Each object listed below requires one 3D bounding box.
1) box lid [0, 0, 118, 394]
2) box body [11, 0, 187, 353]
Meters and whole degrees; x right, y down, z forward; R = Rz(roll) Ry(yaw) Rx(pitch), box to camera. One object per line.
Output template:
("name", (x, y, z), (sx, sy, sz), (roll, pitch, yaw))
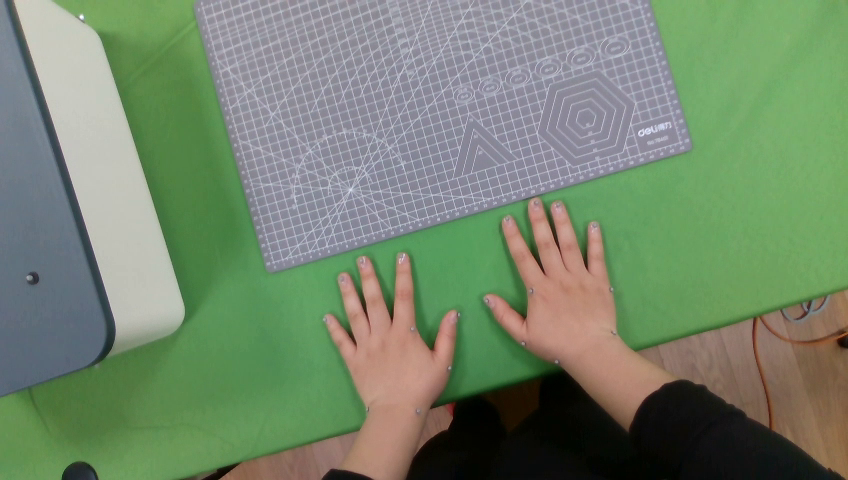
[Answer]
("box lid", (-0.427, -0.042, 0.512), (0.263, 0.015, 0.371), (-19, 89, 6))
("box body", (-0.419, -0.038, 0.586), (0.254, 0.160, 0.363), (-19, 88, 5))
